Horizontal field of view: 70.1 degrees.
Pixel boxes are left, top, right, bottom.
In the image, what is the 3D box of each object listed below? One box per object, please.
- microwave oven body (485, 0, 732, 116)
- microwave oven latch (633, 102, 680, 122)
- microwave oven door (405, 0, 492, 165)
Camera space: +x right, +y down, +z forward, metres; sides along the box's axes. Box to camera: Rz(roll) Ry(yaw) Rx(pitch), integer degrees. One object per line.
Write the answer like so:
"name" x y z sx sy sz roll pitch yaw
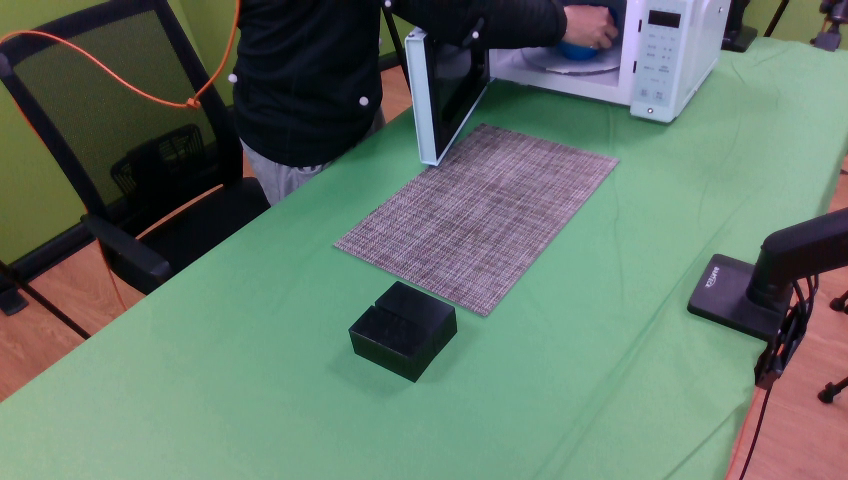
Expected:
"microwave oven body" 0.377 -0.463 1.267 0.438 0.261 0.327 21 49 30
"microwave oven latch" 0.443 -0.249 1.157 0.078 0.029 0.030 22 49 30
"microwave oven door" 0.059 -0.343 1.165 0.039 0.245 0.355 10 43 20
